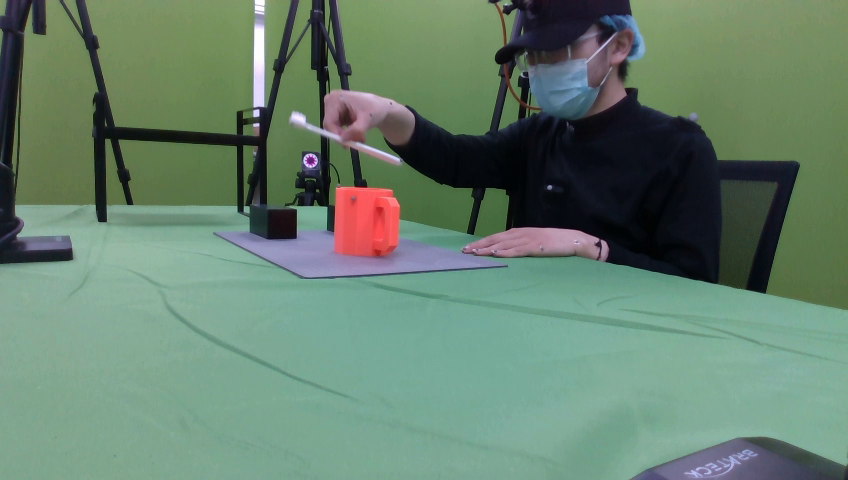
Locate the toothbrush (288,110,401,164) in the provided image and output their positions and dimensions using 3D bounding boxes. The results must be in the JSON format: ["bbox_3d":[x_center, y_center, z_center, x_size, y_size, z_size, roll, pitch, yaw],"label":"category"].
[{"bbox_3d":[-0.115,-0.151,0.901,0.183,0.016,0.014,21,-37,-24],"label":"toothbrush"}]

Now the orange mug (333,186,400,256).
[{"bbox_3d":[-0.080,-0.029,0.888,0.084,0.100,0.125,-3,5,-40],"label":"orange mug"}]
